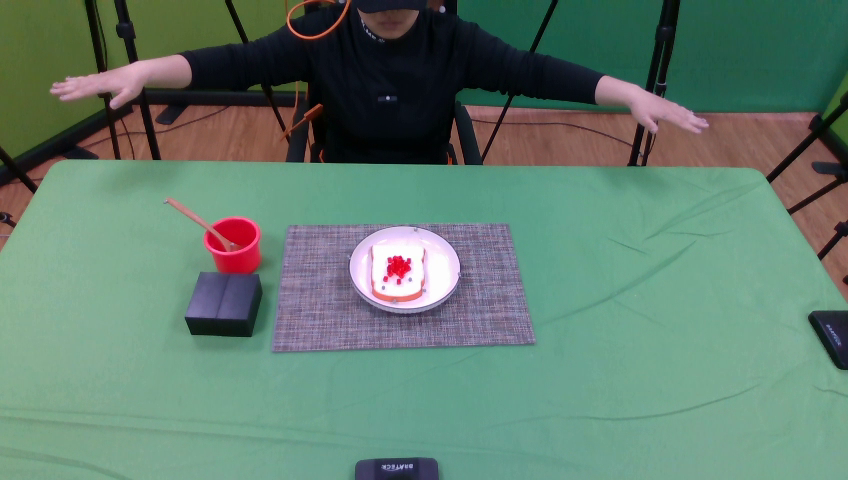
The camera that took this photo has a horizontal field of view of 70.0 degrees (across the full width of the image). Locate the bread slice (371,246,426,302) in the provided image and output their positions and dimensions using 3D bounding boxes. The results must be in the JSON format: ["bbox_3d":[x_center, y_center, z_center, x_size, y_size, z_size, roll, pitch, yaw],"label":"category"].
[{"bbox_3d":[-0.048,0.060,1.123,0.105,0.019,0.130,0,45,-3],"label":"bread slice"}]

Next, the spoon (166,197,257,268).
[{"bbox_3d":[-0.383,-0.014,1.100,0.194,0.021,0.041,45,46,-22],"label":"spoon"}]

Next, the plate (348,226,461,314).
[{"bbox_3d":[-0.035,0.058,1.123,0.209,0.038,0.208,2,46,-2],"label":"plate"}]
